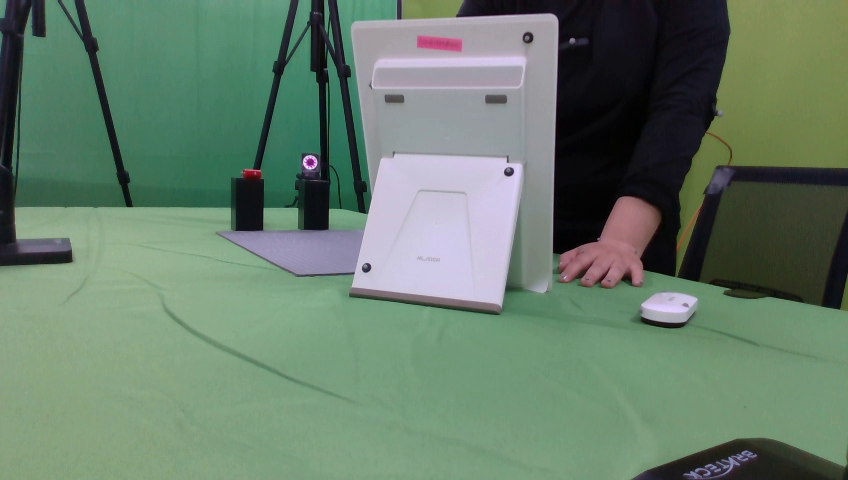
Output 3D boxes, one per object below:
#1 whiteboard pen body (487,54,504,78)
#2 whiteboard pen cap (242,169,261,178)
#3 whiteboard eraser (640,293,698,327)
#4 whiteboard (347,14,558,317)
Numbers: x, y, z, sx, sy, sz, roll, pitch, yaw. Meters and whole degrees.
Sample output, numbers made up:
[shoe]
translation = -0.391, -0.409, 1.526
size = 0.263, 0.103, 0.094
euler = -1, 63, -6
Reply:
[whiteboard pen body]
translation = 0.080, -0.193, 0.671
size = 0.017, 0.017, 0.140
euler = 3, 22, 3
[whiteboard pen cap]
translation = -0.326, -0.125, 1.144
size = 0.032, 0.017, 0.017
euler = 0, 7, -37
[whiteboard eraser]
translation = 0.240, 0.066, 0.590
size = 0.041, 0.019, 0.102
euler = 5, 7, 32
[whiteboard]
translation = 0.012, -0.055, 0.608
size = 0.216, 0.305, 0.144
euler = 6, 27, 20
